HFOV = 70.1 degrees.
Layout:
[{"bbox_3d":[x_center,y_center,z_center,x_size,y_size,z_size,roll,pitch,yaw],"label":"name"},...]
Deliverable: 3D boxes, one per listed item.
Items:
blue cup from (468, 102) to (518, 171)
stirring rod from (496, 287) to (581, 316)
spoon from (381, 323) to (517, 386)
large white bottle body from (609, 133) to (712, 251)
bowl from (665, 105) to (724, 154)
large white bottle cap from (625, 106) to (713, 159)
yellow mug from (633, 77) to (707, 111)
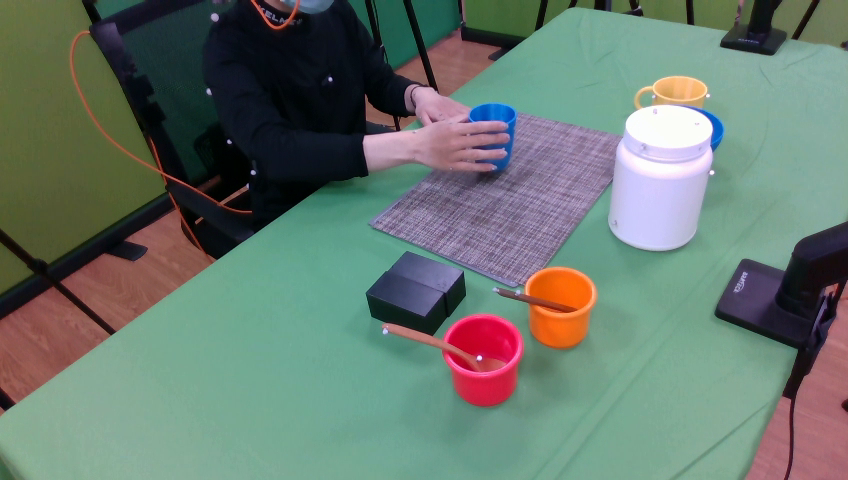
[{"bbox_3d":[0.122,-0.180,1.076,0.092,0.100,0.092,-2,39,2],"label":"blue cup"},{"bbox_3d":[0.150,0.080,0.773,0.178,0.006,0.014,17,21,-42],"label":"stirring rod"},{"bbox_3d":[0.033,0.133,0.722,0.195,0.021,0.041,29,33,-26],"label":"spoon"},{"bbox_3d":[0.351,-0.090,0.904,0.130,0.185,0.130,-5,41,4],"label":"large white bottle body"},{"bbox_3d":[0.438,-0.166,1.063,0.151,0.077,0.150,-4,41,4],"label":"bowl"},{"bbox_3d":[0.342,-0.153,0.848,0.115,0.018,0.114,-4,41,4],"label":"large white bottle cap"},{"bbox_3d":[0.479,-0.270,1.186,0.130,0.064,0.100,10,44,21],"label":"yellow mug"}]
